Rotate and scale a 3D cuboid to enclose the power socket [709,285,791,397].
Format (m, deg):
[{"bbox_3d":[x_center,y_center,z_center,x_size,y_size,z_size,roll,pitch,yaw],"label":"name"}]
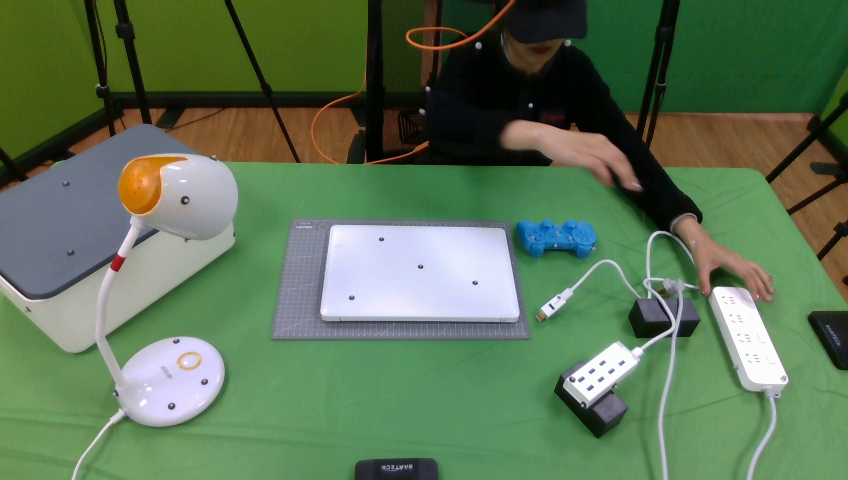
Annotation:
[{"bbox_3d":[0.568,0.167,1.065,0.072,0.033,0.225,2,46,0],"label":"power socket"}]

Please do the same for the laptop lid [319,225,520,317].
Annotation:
[{"bbox_3d":[-0.008,0.052,1.131,0.357,0.013,0.240,2,43,-2],"label":"laptop lid"}]

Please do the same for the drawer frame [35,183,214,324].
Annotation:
[{"bbox_3d":[-0.531,0.018,1.092,0.201,0.083,0.213,29,52,21],"label":"drawer frame"}]

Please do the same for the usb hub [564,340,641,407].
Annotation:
[{"bbox_3d":[0.278,0.205,0.944,0.125,0.025,0.049,-27,52,-28],"label":"usb hub"}]

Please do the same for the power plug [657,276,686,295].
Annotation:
[{"bbox_3d":[0.450,0.087,1.113,0.073,0.052,0.035,-13,72,-54],"label":"power plug"}]

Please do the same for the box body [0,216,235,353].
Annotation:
[{"bbox_3d":[-0.550,-0.007,1.068,0.253,0.161,0.363,30,51,23],"label":"box body"}]

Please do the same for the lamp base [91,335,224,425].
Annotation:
[{"bbox_3d":[-0.401,0.170,0.892,0.160,0.181,0.179,30,53,23],"label":"lamp base"}]

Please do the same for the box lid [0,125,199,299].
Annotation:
[{"bbox_3d":[-0.540,-0.068,1.016,0.262,0.015,0.371,30,51,23],"label":"box lid"}]

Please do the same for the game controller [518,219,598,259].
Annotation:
[{"bbox_3d":[0.269,-0.012,1.210,0.155,0.052,0.096,1,50,-2],"label":"game controller"}]

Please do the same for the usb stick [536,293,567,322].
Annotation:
[{"bbox_3d":[0.226,0.123,1.083,0.059,0.027,0.021,-38,75,-7],"label":"usb stick"}]

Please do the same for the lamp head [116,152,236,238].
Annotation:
[{"bbox_3d":[-0.315,-0.057,0.747,0.112,0.112,0.123,26,10,20],"label":"lamp head"}]

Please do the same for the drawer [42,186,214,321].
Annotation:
[{"bbox_3d":[-0.529,0.018,1.097,0.194,0.073,0.211,29,53,20],"label":"drawer"}]

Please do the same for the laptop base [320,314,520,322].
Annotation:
[{"bbox_3d":[-0.008,0.062,1.138,0.354,0.023,0.234,0,42,-3],"label":"laptop base"}]
